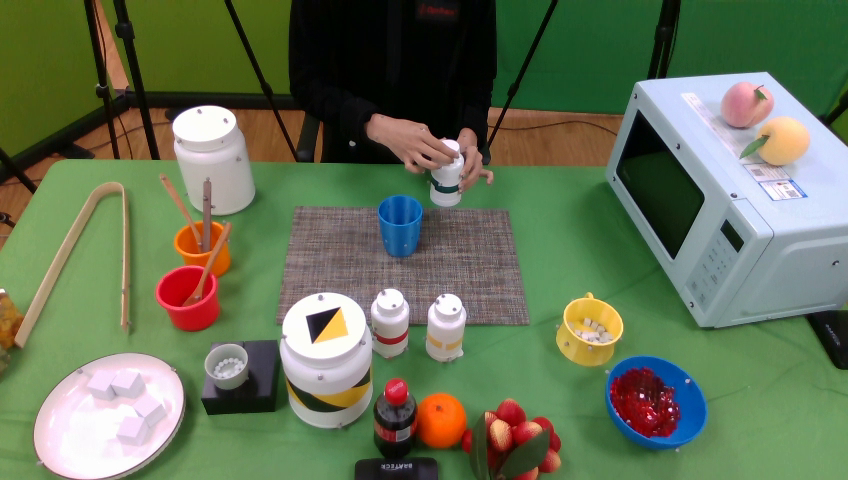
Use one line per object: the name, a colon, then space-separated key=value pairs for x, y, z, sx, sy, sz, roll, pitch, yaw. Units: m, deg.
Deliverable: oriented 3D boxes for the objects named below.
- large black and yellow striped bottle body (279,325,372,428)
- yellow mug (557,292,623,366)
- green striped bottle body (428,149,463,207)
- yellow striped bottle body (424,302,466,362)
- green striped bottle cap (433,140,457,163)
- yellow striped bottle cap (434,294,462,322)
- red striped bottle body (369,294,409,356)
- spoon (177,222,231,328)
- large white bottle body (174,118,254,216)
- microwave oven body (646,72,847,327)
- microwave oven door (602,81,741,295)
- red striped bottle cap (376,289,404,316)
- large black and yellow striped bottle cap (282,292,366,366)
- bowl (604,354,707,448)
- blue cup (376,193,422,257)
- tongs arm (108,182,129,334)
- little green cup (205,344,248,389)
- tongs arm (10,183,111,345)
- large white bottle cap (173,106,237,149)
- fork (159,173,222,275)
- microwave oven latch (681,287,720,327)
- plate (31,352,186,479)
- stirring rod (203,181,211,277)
large black and yellow striped bottle body: x=-0.143 y=0.181 z=0.900 sx=0.131 sy=0.185 sz=0.130 roll=2 pitch=46 yaw=-2
yellow mug: x=0.285 y=0.145 z=1.051 sx=0.100 sy=0.064 sz=0.130 roll=7 pitch=45 yaw=4
green striped bottle body: x=0.041 y=-0.127 z=1.161 sx=0.063 sy=0.120 sz=0.063 roll=2 pitch=45 yaw=-1
yellow striped bottle body: x=0.035 y=0.143 z=0.995 sx=0.063 sy=0.121 sz=0.062 roll=3 pitch=46 yaw=-3
green striped bottle cap: x=0.039 y=-0.164 z=1.122 sx=0.044 sy=0.020 sz=0.044 roll=9 pitch=48 yaw=-10
yellow striped bottle cap: x=0.038 y=0.107 z=0.958 sx=0.044 sy=0.019 sz=0.044 roll=2 pitch=45 yaw=-2
red striped bottle body: x=-0.059 y=0.134 z=0.997 sx=0.063 sy=0.120 sz=0.062 roll=5 pitch=47 yaw=-5
spoon: x=-0.369 y=0.059 z=1.027 sx=0.041 sy=0.022 sz=0.193 roll=25 pitch=94 yaw=19
large white bottle body: x=-0.415 y=-0.155 z=1.199 sx=0.131 sy=0.185 sz=0.130 roll=2 pitch=46 yaw=-2
microwave oven body: x=0.607 y=-0.089 z=1.164 sx=0.326 sy=0.261 sz=0.438 roll=-7 pitch=46 yaw=-10
microwave oven door: x=0.456 y=-0.107 z=1.162 sx=0.039 sy=0.245 sz=0.353 roll=-7 pitch=47 yaw=-11
red striped bottle cap: x=-0.054 y=0.098 z=0.958 sx=0.044 sy=0.018 sz=0.044 roll=0 pitch=48 yaw=1
large black and yellow striped bottle cap: x=-0.138 y=0.121 z=0.841 sx=0.115 sy=0.019 sz=0.114 roll=3 pitch=47 yaw=-3
bowl: x=0.346 y=0.261 z=0.937 sx=0.151 sy=0.077 sz=0.150 roll=2 pitch=46 yaw=-2
blue cup: x=-0.047 y=-0.022 z=1.155 sx=0.093 sy=0.101 sz=0.092 roll=1 pitch=47 yaw=-1
tongs arm: x=-0.571 y=0.019 z=1.123 sx=0.051 sy=0.026 sz=0.382 roll=-11 pitch=47 yaw=-11
little green cup: x=-0.293 y=0.191 z=0.909 sx=0.061 sy=0.039 sz=0.061 roll=1 pitch=47 yaw=-1
tongs arm: x=-0.658 y=0.027 z=1.109 sx=0.028 sy=0.028 sz=0.385 roll=-2 pitch=45 yaw=2
large white bottle cap: x=-0.411 y=-0.212 z=1.138 sx=0.115 sy=0.018 sz=0.114 roll=2 pitch=47 yaw=-2
fork: x=-0.427 y=-0.029 z=1.103 sx=0.028 sy=0.018 sz=0.207 roll=-31 pitch=99 yaw=-30
microwave oven latch: x=0.494 y=0.119 z=1.087 sx=0.030 sy=0.029 sz=0.078 roll=-6 pitch=46 yaw=-9
plate: x=-0.459 y=0.262 z=0.898 sx=0.209 sy=0.038 sz=0.208 roll=2 pitch=46 yaw=-2
stirring rod: x=-0.396 y=-0.021 z=1.108 sx=0.014 sy=0.006 sz=0.176 roll=-1 pitch=89 yaw=-2
